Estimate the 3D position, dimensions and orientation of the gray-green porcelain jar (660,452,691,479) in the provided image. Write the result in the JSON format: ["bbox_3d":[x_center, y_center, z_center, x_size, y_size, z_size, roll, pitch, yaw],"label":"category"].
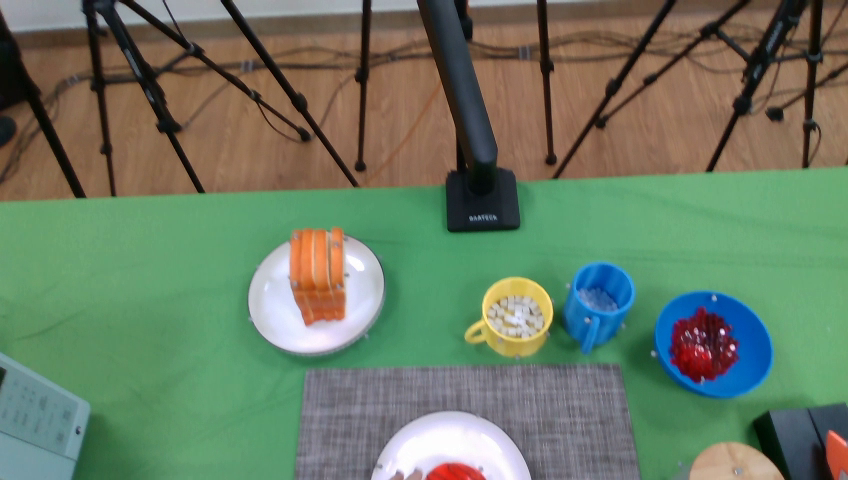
[{"bbox_3d":[0.339,0.303,0.712,0.106,0.127,0.105,-1,59,2],"label":"gray-green porcelain jar"}]

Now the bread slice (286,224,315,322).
[{"bbox_3d":[-0.178,0.040,0.879,0.018,0.135,0.106,-4,55,-1],"label":"bread slice"}]

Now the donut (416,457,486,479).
[{"bbox_3d":[0.034,0.320,0.751,0.099,0.048,0.098,0,62,1],"label":"donut"}]

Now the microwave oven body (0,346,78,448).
[{"bbox_3d":[-0.632,0.348,0.649,0.326,0.262,0.437,-1,60,2],"label":"microwave oven body"}]

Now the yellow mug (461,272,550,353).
[{"bbox_3d":[0.114,0.111,0.871,0.131,0.064,0.099,-22,60,-8],"label":"yellow mug"}]

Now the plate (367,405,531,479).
[{"bbox_3d":[0.031,0.316,0.766,0.209,0.038,0.207,-1,59,2],"label":"plate"}]

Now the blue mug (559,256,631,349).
[{"bbox_3d":[0.234,0.097,0.850,0.082,0.107,0.116,15,62,12],"label":"blue mug"}]

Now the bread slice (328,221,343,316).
[{"bbox_3d":[-0.128,0.037,0.879,0.019,0.132,0.104,-2,61,-7],"label":"bread slice"}]

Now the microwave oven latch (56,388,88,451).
[{"bbox_3d":[-0.480,0.241,0.816,0.030,0.030,0.078,2,60,3],"label":"microwave oven latch"}]

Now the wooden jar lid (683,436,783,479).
[{"bbox_3d":[0.335,0.270,0.658,0.108,0.021,0.107,0,61,0],"label":"wooden jar lid"}]

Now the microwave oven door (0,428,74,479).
[{"bbox_3d":[-0.486,0.378,0.619,0.039,0.246,0.352,-2,59,2],"label":"microwave oven door"}]

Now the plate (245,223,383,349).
[{"bbox_3d":[-0.165,0.071,0.924,0.207,0.039,0.206,-1,60,2],"label":"plate"}]

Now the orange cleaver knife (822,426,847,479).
[{"bbox_3d":[0.497,0.330,0.714,0.012,0.077,0.211,-5,89,1],"label":"orange cleaver knife"}]

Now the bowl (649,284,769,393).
[{"bbox_3d":[0.378,0.145,0.831,0.151,0.077,0.150,-1,60,3],"label":"bowl"}]
